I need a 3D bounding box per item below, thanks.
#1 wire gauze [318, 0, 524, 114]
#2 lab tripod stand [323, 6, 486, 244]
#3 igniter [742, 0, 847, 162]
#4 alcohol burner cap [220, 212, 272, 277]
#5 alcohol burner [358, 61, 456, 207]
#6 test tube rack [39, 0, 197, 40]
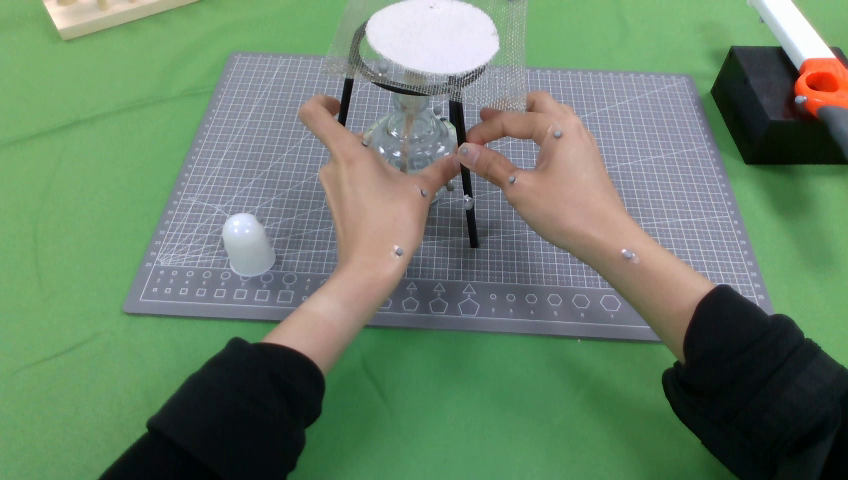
[{"bbox_3d":[0.004,-0.131,0.389,0.125,0.011,0.120,8,52,2],"label":"wire gauze"},{"bbox_3d":[-0.003,-0.084,0.438,0.148,0.132,0.147,2,52,-3],"label":"lab tripod stand"},{"bbox_3d":[0.326,-0.139,0.504,0.057,0.025,0.273,-1,50,1],"label":"igniter"},{"bbox_3d":[-0.127,0.000,0.426,0.034,0.048,0.033,2,51,-2],"label":"alcohol burner cap"},{"bbox_3d":[-0.011,-0.080,0.447,0.078,0.120,0.077,0,54,0],"label":"alcohol burner"},{"bbox_3d":[-0.278,-0.297,0.628,0.242,0.086,0.066,-27,58,-21],"label":"test tube rack"}]
